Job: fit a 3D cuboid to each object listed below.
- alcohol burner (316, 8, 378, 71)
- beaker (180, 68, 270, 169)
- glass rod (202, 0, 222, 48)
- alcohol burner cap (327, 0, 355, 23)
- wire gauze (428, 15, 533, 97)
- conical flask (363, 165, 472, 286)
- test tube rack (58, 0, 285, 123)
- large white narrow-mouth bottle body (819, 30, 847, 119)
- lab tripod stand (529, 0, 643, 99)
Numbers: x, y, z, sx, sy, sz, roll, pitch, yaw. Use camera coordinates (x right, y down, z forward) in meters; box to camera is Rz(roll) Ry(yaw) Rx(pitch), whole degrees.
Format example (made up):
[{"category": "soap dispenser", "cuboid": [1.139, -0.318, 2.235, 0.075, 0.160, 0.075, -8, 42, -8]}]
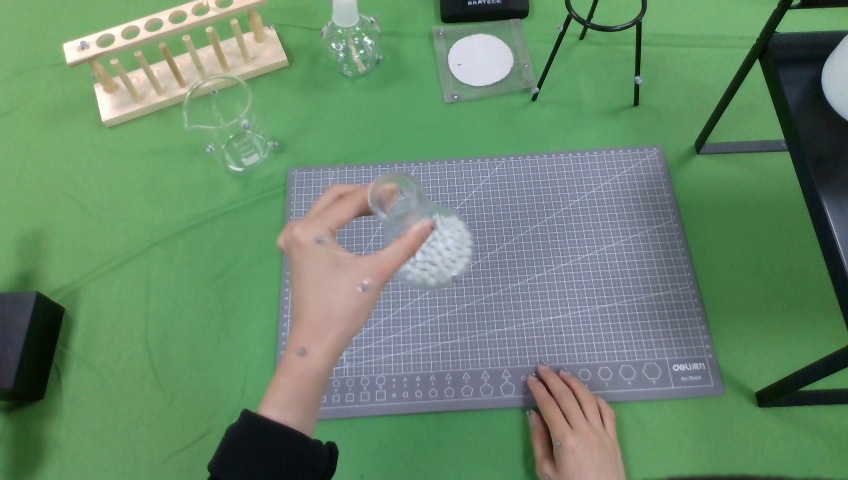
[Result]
[{"category": "alcohol burner", "cuboid": [-0.097, -0.269, 0.751, 0.078, 0.120, 0.077, 0, 63, 1]}, {"category": "beaker", "cuboid": [-0.227, -0.133, 0.699, 0.073, 0.101, 0.084, 41, 73, 19]}, {"category": "glass rod", "cuboid": [-0.264, -0.300, 0.712, 0.008, 0.201, 0.008, 1, 63, -2]}, {"category": "alcohol burner cap", "cuboid": [-0.099, -0.286, 0.719, 0.034, 0.048, 0.033, 3, 63, -6]}, {"category": "wire gauze", "cuboid": [0.073, -0.245, 0.792, 0.121, 0.011, 0.124, -7, 65, -3]}, {"category": "conical flask", "cuboid": [-0.009, -0.015, 0.457, 0.075, 0.123, 0.075, -4, 70, 13]}, {"category": "test tube rack", "cuboid": [-0.308, -0.237, 0.758, 0.242, 0.086, 0.066, -22, 66, -8]}, {"category": "large white narrow-mouth bottle body", "cuboid": [0.393, -0.176, 0.450, 0.102, 0.196, 0.101, 0, 63, 1]}, {"category": "lab tripod stand", "cuboid": [0.200, -0.241, 0.717, 0.148, 0.132, 0.147, 0, 64, 0]}]
